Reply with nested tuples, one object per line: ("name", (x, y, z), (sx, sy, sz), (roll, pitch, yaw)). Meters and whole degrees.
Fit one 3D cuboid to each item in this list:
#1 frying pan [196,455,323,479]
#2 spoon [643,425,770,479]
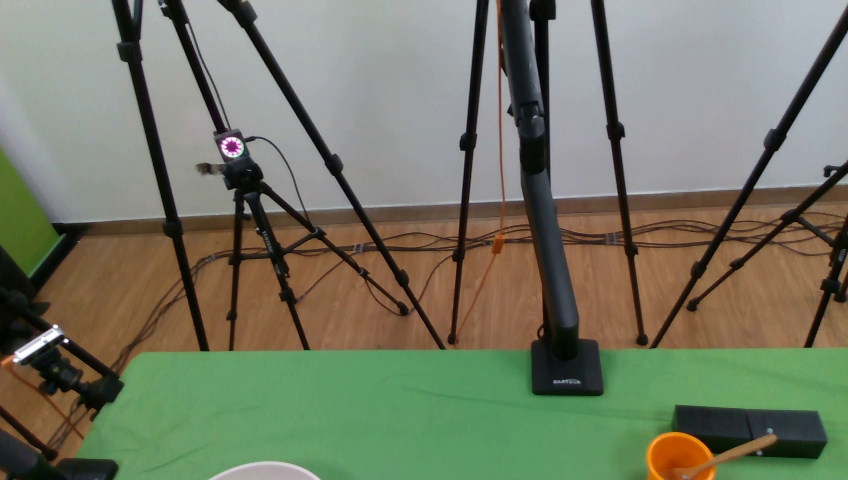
("frying pan", (-0.265, 0.510, 0.772), (0.306, 0.103, 0.484), (-3, 33, 10))
("spoon", (0.388, 0.300, 0.840), (0.022, 0.194, 0.041), (27, 39, -24))
